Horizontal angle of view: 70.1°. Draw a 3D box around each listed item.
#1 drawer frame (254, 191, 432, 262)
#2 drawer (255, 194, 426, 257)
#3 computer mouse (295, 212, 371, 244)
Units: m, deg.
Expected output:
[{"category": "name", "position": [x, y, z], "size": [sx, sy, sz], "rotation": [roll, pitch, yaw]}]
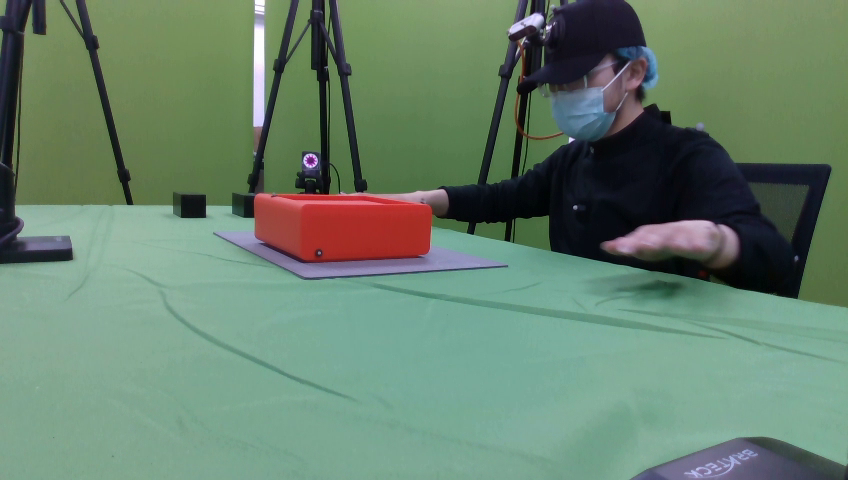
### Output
[{"category": "drawer frame", "position": [-0.128, -0.027, 0.911], "size": [0.203, 0.082, 0.212], "rotation": [-1, 9, -32]}, {"category": "drawer", "position": [-0.130, -0.026, 0.912], "size": [0.195, 0.073, 0.210], "rotation": [-1, 9, -31]}, {"category": "computer mouse", "position": [-0.143, -0.019, 0.948], "size": [0.117, 0.041, 0.062], "rotation": [-6, 16, -2]}]
